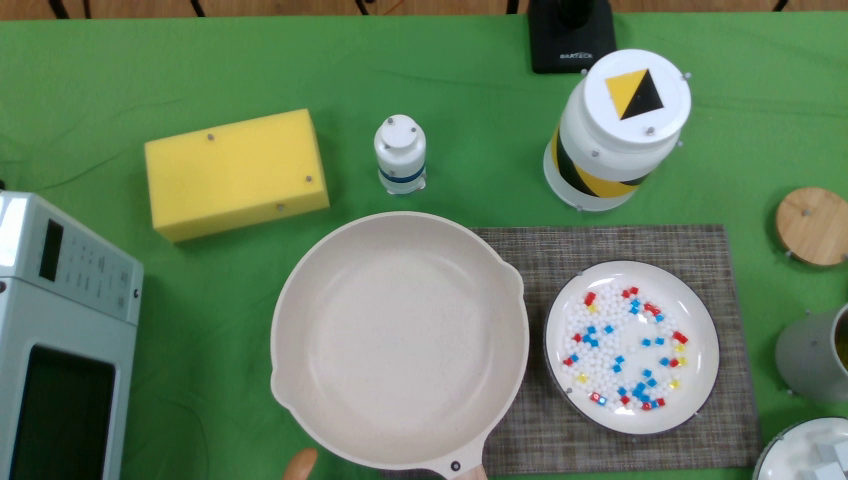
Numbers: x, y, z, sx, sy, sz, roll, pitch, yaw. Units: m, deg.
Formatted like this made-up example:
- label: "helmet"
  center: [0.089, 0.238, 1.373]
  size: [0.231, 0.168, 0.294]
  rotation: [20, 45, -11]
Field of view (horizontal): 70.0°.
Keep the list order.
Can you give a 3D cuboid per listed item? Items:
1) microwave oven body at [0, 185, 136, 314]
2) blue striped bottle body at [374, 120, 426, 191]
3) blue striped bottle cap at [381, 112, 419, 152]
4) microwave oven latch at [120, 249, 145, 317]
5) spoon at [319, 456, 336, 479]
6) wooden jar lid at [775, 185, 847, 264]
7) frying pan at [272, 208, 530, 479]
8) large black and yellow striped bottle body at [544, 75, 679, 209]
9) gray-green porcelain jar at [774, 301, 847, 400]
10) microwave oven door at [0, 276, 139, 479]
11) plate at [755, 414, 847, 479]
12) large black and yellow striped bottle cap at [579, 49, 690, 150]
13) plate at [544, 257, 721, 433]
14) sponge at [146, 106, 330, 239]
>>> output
- label: "microwave oven body"
  center: [-0.500, 0.193, 0.580]
  size: [0.326, 0.261, 0.439]
  rotation: [0, 74, -1]
- label: "blue striped bottle body"
  center: [-0.028, -0.111, 0.756]
  size: [0.063, 0.121, 0.062]
  rotation: [0, 73, -1]
- label: "blue striped bottle cap"
  center: [-0.028, -0.126, 0.707]
  size: [0.044, 0.021, 0.044]
  rotation: [0, 70, 1]
- label: "microwave oven latch"
  center: [-0.354, 0.052, 0.726]
  size: [0.030, 0.029, 0.078]
  rotation: [1, 74, -1]
- label: "spoon"
  center: [-0.159, 0.297, 0.616]
  size: [0.193, 0.041, 0.021]
  rotation: [-42, 91, -10]
- label: "wooden jar lid"
  center: [0.510, -0.019, 0.791]
  size: [0.108, 0.021, 0.108]
  rotation: [0, 75, 0]
- label: "frying pan"
  center: [0.017, 0.194, 0.671]
  size: [0.307, 0.103, 0.483]
  rotation: [-24, 67, -7]
- label: "large black and yellow striped bottle body"
  center: [0.226, -0.127, 0.733]
  size: [0.131, 0.185, 0.130]
  rotation: [0, 72, 0]
- label: "gray-green porcelain jar"
  center: [0.478, 0.128, 0.691]
  size: [0.106, 0.127, 0.105]
  rotation: [0, 73, -1]
- label: "microwave oven door"
  center: [-0.355, 0.231, 0.566]
  size: [0.039, 0.245, 0.353]
  rotation: [-1, 73, -1]
- label: "plate"
  center: [0.473, 0.303, 0.685]
  size: [0.208, 0.039, 0.206]
  rotation: [0, 73, -1]
- label: "large black and yellow striped bottle cap"
  center: [0.226, -0.152, 0.651]
  size: [0.115, 0.019, 0.114]
  rotation: [0, 72, 0]
- label: "plate"
  center: [0.247, 0.124, 0.731]
  size: [0.209, 0.038, 0.208]
  rotation: [0, 74, 0]
- label: "sponge"
  center: [-0.235, -0.086, 0.776]
  size: [0.207, 0.061, 0.117]
  rotation: [-14, 74, -6]
